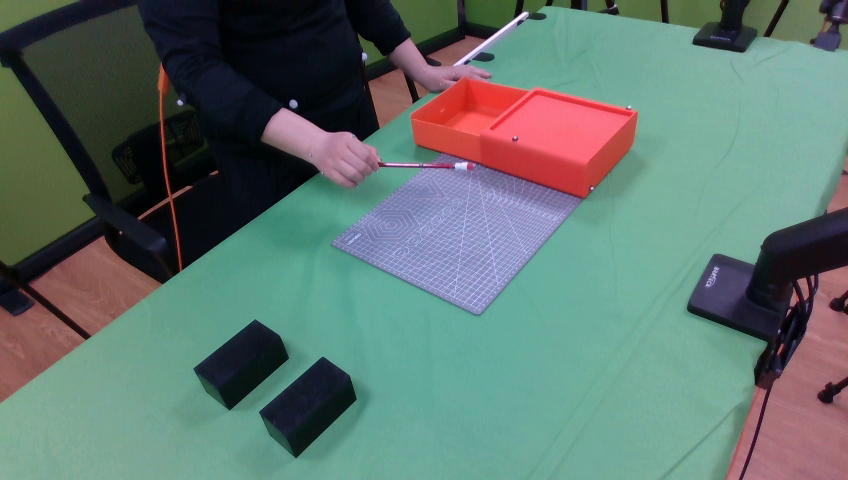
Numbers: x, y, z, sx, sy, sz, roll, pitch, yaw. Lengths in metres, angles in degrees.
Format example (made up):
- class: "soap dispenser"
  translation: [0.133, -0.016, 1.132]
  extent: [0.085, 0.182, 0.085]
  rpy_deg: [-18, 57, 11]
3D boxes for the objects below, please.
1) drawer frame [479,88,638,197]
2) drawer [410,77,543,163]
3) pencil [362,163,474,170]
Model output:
- class: "drawer frame"
  translation: [0.243, -0.184, 1.100]
  extent: [0.212, 0.083, 0.202]
  rpy_deg: [23, 48, 30]
- class: "drawer"
  translation: [0.113, -0.235, 1.186]
  extent: [0.210, 0.073, 0.195]
  rpy_deg: [21, 46, 32]
- class: "pencil"
  translation: [-0.013, -0.119, 0.964]
  extent: [0.193, 0.012, 0.012]
  rpy_deg: [4, 41, 21]
